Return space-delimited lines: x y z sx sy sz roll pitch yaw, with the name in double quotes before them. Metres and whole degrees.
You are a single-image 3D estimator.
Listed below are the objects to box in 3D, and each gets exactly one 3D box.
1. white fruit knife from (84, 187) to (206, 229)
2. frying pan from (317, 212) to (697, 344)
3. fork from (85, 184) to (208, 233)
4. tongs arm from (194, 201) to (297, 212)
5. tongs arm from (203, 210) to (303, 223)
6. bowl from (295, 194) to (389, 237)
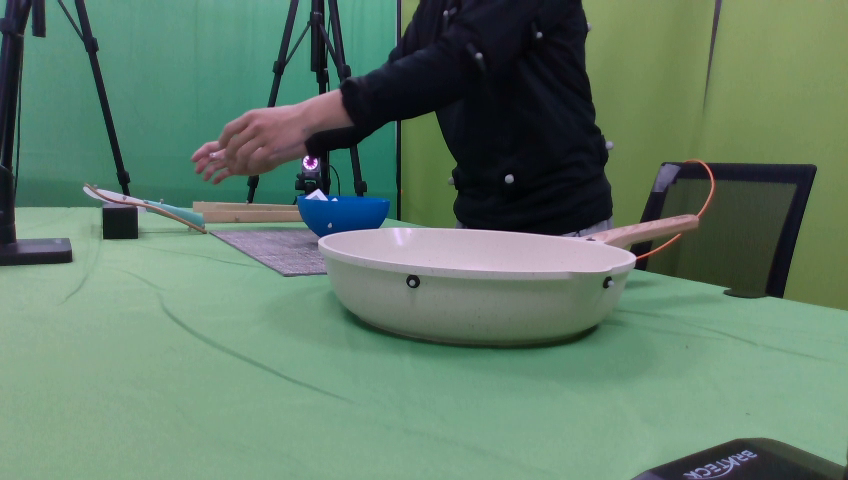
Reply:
"white fruit knife" -0.488 -0.059 1.071 0.208 0.027 0.016 17 4 -33
"frying pan" 0.133 0.013 0.629 0.490 0.102 0.305 -12 14 -31
"fork" -0.462 -0.050 1.020 0.208 0.018 0.028 22 -9 -37
"tongs arm" -0.335 -0.071 1.424 0.387 0.026 0.050 0 9 -24
"tongs arm" -0.298 -0.056 1.354 0.390 0.028 0.028 -3 7 -36
"bowl" -0.132 -0.032 0.980 0.151 0.077 0.151 2 7 0
